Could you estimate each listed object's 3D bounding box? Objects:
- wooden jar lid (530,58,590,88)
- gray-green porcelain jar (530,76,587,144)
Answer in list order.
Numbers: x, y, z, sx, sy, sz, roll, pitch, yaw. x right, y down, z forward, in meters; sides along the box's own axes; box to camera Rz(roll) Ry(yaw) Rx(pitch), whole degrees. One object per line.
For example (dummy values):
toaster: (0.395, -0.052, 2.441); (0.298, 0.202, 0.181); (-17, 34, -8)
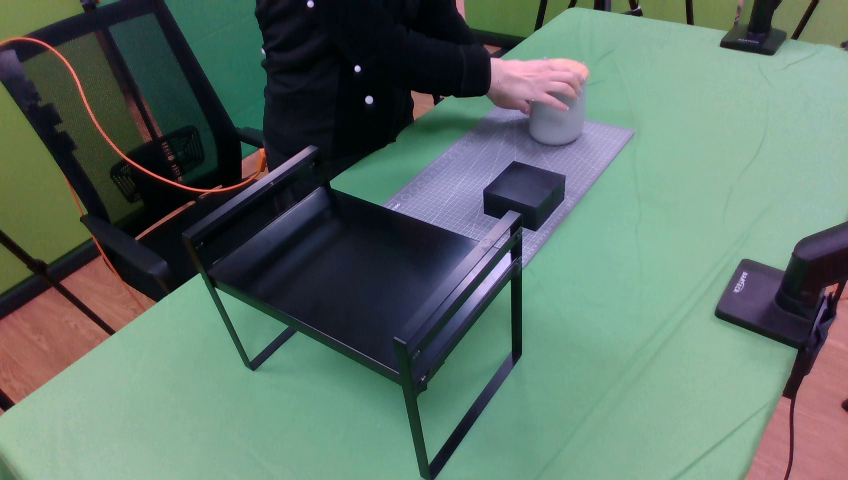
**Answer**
wooden jar lid: (0.248, -0.302, 1.110); (0.108, 0.021, 0.108); (-2, 39, 2)
gray-green porcelain jar: (0.254, -0.256, 1.151); (0.106, 0.127, 0.105); (-4, 41, 4)
